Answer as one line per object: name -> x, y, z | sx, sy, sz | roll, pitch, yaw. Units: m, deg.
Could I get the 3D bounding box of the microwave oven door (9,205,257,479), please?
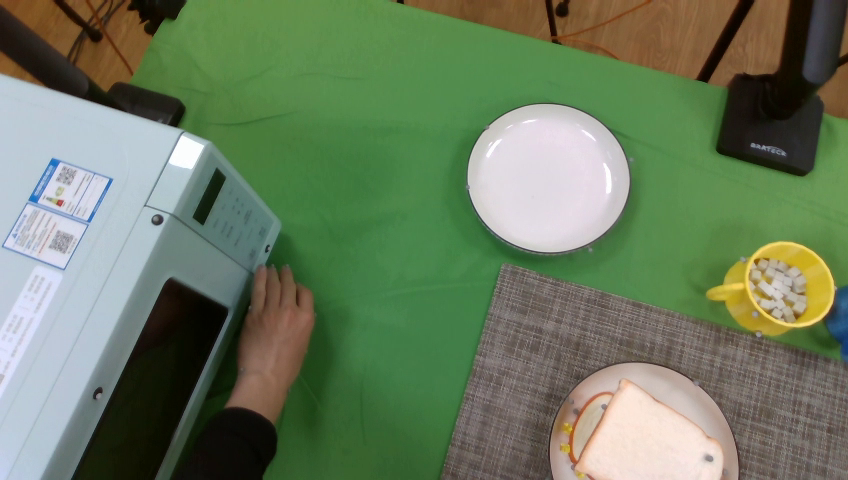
microwave oven door -> -0.291, 0.162, 0.608 | 0.039, 0.245, 0.354 | 18, 75, 9

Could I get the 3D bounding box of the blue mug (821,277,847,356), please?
blue mug -> 0.509, 0.084, 0.681 | 0.082, 0.106, 0.116 | 37, 79, 13

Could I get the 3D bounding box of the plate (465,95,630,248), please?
plate -> 0.156, -0.086, 0.783 | 0.207, 0.039, 0.206 | -1, 74, 3

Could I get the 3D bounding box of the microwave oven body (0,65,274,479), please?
microwave oven body -> -0.413, 0.080, 0.642 | 0.325, 0.261, 0.440 | 18, 76, 8

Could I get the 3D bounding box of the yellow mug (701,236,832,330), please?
yellow mug -> 0.397, 0.053, 0.716 | 0.131, 0.064, 0.099 | -4, 73, 3

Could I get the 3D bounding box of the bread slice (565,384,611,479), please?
bread slice -> 0.227, 0.229, 0.685 | 0.131, 0.019, 0.104 | 29, 77, 10

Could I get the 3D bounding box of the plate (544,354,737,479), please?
plate -> 0.239, 0.234, 0.682 | 0.209, 0.038, 0.208 | -1, 74, 3

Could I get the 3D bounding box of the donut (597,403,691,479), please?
donut -> 0.236, 0.228, 0.655 | 0.099, 0.048, 0.098 | -1, 72, 2

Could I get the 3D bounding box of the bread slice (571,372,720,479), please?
bread slice -> 0.235, 0.213, 0.627 | 0.134, 0.018, 0.107 | 28, 83, 4

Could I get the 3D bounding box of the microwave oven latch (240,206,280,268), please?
microwave oven latch -> -0.208, -0.007, 0.758 | 0.030, 0.029, 0.079 | 21, 77, 8
